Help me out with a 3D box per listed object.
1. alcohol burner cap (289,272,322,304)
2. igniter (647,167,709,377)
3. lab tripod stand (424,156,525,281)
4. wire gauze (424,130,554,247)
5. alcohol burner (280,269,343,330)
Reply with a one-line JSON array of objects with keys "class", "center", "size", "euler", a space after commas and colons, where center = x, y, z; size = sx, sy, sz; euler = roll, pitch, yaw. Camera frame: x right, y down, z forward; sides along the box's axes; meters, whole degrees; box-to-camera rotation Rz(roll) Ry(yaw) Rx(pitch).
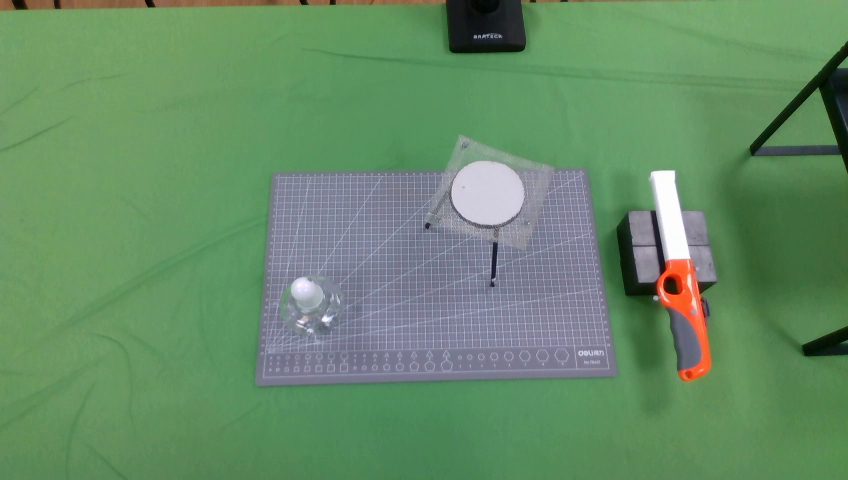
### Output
[{"class": "alcohol burner cap", "center": [-0.138, 0.053, 0.694], "size": [0.034, 0.048, 0.033], "euler": [0, 69, 1]}, {"class": "igniter", "center": [0.314, 0.032, 0.756], "size": [0.057, 0.025, 0.274], "euler": [-2, 67, 4]}, {"class": "lab tripod stand", "center": [0.073, -0.038, 0.766], "size": [0.148, 0.132, 0.147], "euler": [1, 66, -1]}, {"class": "wire gauze", "center": [0.077, -0.061, 0.703], "size": [0.121, 0.011, 0.124], "euler": [20, 68, 6]}, {"class": "alcohol burner", "center": [-0.137, 0.067, 0.727], "size": [0.078, 0.120, 0.077], "euler": [1, 69, -2]}]
